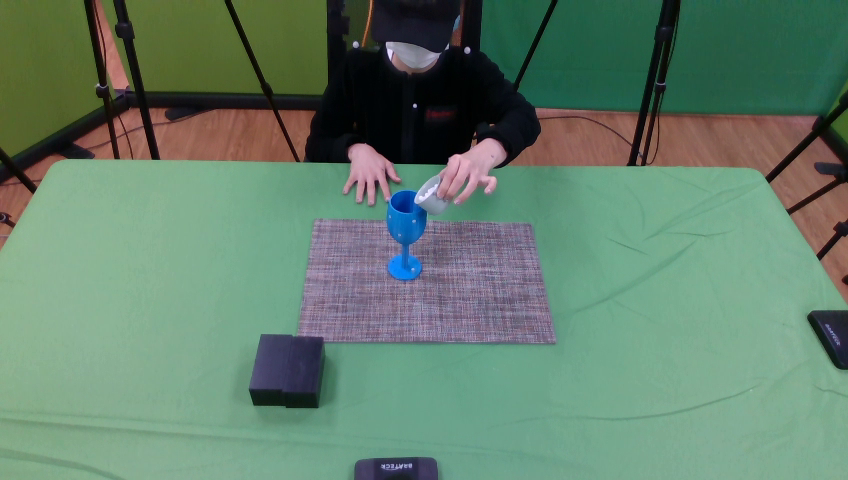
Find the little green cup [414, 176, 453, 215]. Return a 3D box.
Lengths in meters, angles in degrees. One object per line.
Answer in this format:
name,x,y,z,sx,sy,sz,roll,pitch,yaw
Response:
little green cup,0.017,-0.072,1.007,0.039,0.061,0.061,41,43,-21

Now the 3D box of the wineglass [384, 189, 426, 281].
wineglass,-0.035,-0.006,1.091,0.074,0.173,0.073,2,46,-2
